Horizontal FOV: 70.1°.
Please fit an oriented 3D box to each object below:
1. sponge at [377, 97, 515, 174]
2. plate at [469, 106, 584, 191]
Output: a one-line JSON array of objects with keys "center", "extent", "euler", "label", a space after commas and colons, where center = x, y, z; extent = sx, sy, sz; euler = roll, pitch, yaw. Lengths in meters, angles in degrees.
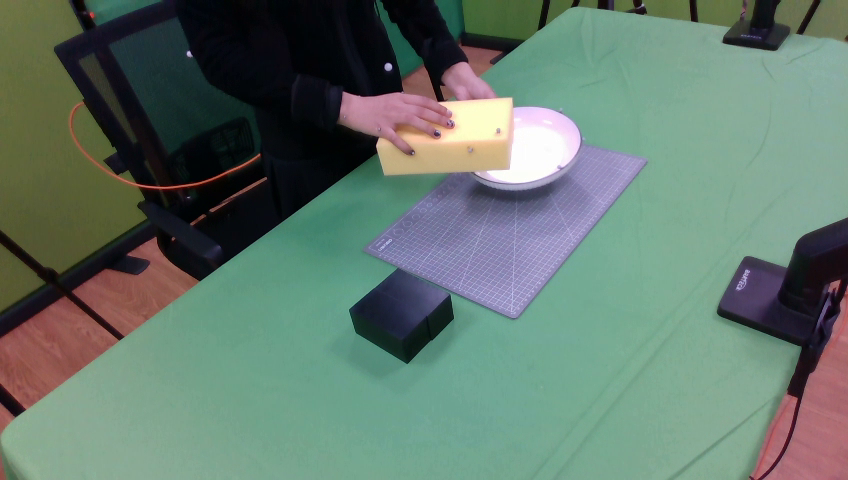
[{"center": [0.039, -0.168, 0.976], "extent": [0.206, 0.061, 0.118], "euler": [-1, 45, 11], "label": "sponge"}, {"center": [0.169, -0.155, 1.049], "extent": [0.209, 0.038, 0.208], "euler": [-7, 48, 8], "label": "plate"}]
